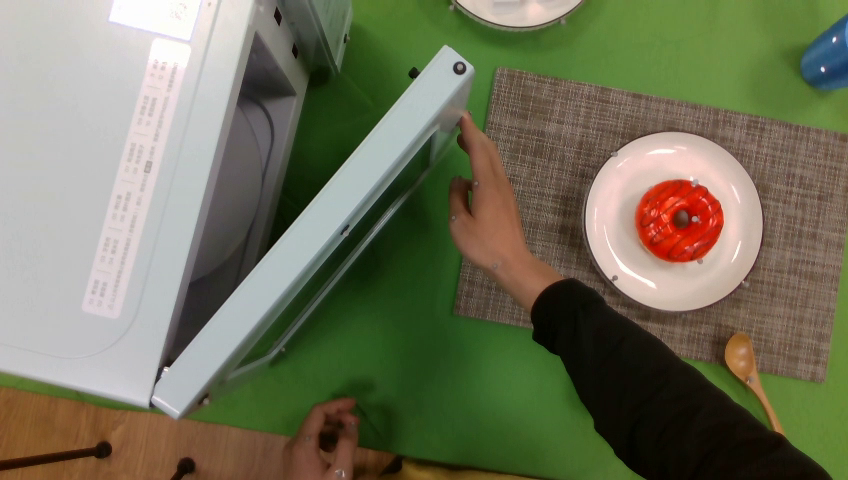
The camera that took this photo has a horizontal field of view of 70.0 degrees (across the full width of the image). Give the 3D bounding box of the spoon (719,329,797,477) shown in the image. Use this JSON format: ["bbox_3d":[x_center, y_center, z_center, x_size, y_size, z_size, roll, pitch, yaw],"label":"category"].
[{"bbox_3d":[0.394,0.193,0.708,0.041,0.021,0.193,-26,89,-19],"label":"spoon"}]

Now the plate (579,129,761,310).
[{"bbox_3d":[0.282,-0.024,0.707,0.209,0.038,0.209,0,87,-1],"label":"plate"}]

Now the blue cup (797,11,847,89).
[{"bbox_3d":[0.488,-0.217,0.695,0.093,0.100,0.092,0,88,-2],"label":"blue cup"}]

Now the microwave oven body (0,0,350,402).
[{"bbox_3d":[-0.287,-0.113,0.584,0.326,0.260,0.441,14,87,-1],"label":"microwave oven body"}]

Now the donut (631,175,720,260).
[{"bbox_3d":[0.287,-0.025,0.696,0.099,0.048,0.099,0,88,1],"label":"donut"}]

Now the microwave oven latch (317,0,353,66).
[{"bbox_3d":[-0.103,-0.243,0.692,0.030,0.029,0.079,16,87,-1],"label":"microwave oven latch"}]

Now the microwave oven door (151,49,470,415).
[{"bbox_3d":[-0.088,-0.003,0.580,0.039,0.244,0.355,39,86,2],"label":"microwave oven door"}]

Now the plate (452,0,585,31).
[{"bbox_3d":[0.111,-0.347,0.723,0.208,0.039,0.207,0,87,-1],"label":"plate"}]

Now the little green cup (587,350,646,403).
[{"bbox_3d":[0.219,0.155,0.699,0.061,0.038,0.061,0,85,-2],"label":"little green cup"}]
